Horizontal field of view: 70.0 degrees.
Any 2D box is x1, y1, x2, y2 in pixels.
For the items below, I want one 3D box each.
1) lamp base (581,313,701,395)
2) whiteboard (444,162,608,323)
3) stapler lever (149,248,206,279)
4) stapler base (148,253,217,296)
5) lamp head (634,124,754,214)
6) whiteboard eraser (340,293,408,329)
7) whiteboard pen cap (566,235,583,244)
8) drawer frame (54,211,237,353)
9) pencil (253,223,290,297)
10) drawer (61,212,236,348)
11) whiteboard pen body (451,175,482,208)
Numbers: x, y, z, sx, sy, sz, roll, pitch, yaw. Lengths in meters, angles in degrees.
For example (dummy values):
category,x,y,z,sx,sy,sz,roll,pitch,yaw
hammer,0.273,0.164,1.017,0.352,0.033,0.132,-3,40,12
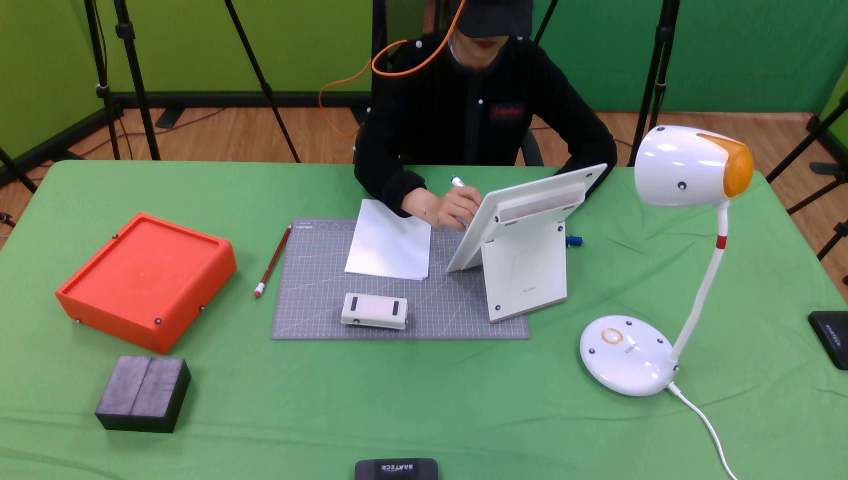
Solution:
category,x,y,z,sx,sy,sz,roll,pitch,yaw
lamp base,0.361,0.144,0.972,0.178,0.181,0.160,34,53,23
whiteboard,0.186,0.026,1.028,0.217,0.306,0.143,-14,68,-17
stapler lever,-0.443,0.037,1.084,0.118,0.040,0.027,19,50,17
stapler base,-0.443,0.058,1.109,0.130,0.024,0.041,24,51,11
lamp head,0.351,-0.089,0.775,0.112,0.113,0.122,-30,30,-28
whiteboard eraser,-0.087,0.125,1.052,0.113,0.042,0.055,5,45,1
whiteboard pen cap,0.303,0.000,1.221,0.033,0.018,0.018,3,46,-2
drawer frame,-0.473,0.067,1.055,0.201,0.083,0.212,17,48,11
pencil,-0.286,0.033,1.150,0.012,0.012,0.193,9,46,4
drawer,-0.473,0.064,1.060,0.194,0.073,0.211,18,48,11
whiteboard pen body,0.089,-0.071,1.068,0.017,0.017,0.140,-22,51,-23
